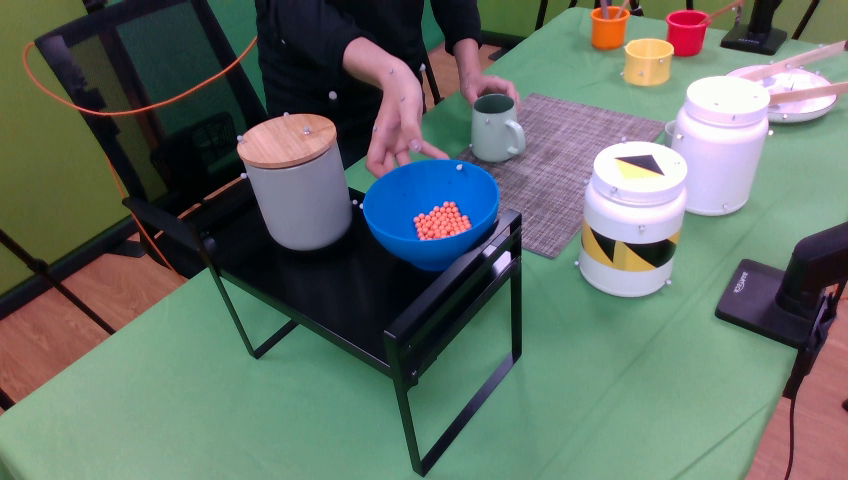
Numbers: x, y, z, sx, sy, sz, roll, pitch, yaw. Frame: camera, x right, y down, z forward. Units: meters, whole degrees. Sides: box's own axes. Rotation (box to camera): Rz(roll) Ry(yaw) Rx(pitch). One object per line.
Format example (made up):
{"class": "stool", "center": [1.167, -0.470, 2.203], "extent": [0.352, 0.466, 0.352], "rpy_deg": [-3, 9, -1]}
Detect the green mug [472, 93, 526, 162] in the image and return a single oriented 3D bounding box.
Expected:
{"class": "green mug", "center": [0.144, -0.202, 1.122], "extent": [0.093, 0.105, 0.124], "rpy_deg": [-29, 45, -23]}

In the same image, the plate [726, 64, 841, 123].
{"class": "plate", "center": [0.695, -0.282, 1.189], "extent": [0.207, 0.039, 0.206], "rpy_deg": [-4, 40, 4]}

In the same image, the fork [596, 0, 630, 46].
{"class": "fork", "center": [0.481, -0.556, 1.453], "extent": [0.028, 0.019, 0.207], "rpy_deg": [40, 103, 38]}

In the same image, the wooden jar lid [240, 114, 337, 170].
{"class": "wooden jar lid", "center": [-0.149, -0.106, 0.673], "extent": [0.108, 0.021, 0.108], "rpy_deg": [-6, 39, 5]}

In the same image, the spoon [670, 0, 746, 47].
{"class": "spoon", "center": [0.629, -0.485, 1.350], "extent": [0.022, 0.193, 0.042], "rpy_deg": [48, 54, -7]}

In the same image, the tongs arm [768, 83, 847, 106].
{"class": "tongs arm", "center": [0.738, -0.282, 1.134], "extent": [0.388, 0.028, 0.028], "rpy_deg": [-9, 47, -5]}

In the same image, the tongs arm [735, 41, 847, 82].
{"class": "tongs arm", "center": [0.712, -0.332, 1.194], "extent": [0.386, 0.026, 0.050], "rpy_deg": [-18, 45, -16]}

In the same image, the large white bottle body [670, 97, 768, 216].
{"class": "large white bottle body", "center": [0.458, -0.146, 0.952], "extent": [0.130, 0.185, 0.130], "rpy_deg": [-4, 40, 4]}

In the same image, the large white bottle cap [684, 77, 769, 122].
{"class": "large white bottle cap", "center": [0.448, -0.210, 0.898], "extent": [0.115, 0.018, 0.114], "rpy_deg": [-4, 40, 4]}

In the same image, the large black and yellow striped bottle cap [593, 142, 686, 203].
{"class": "large black and yellow striped bottle cap", "center": [0.280, -0.090, 0.786], "extent": [0.115, 0.019, 0.114], "rpy_deg": [-5, 41, 5]}

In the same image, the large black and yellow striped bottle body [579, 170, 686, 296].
{"class": "large black and yellow striped bottle body", "center": [0.287, -0.027, 0.842], "extent": [0.131, 0.185, 0.130], "rpy_deg": [-4, 41, 4]}

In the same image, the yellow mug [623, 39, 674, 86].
{"class": "yellow mug", "center": [0.485, -0.398, 1.334], "extent": [0.100, 0.064, 0.130], "rpy_deg": [-18, 40, -10]}

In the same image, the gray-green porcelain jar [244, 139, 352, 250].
{"class": "gray-green porcelain jar", "center": [-0.144, -0.060, 0.714], "extent": [0.106, 0.127, 0.105], "rpy_deg": [-4, 41, 4]}

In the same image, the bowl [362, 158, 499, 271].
{"class": "bowl", "center": [0.011, -0.019, 0.679], "extent": [0.151, 0.077, 0.150], "rpy_deg": [-5, 41, 5]}

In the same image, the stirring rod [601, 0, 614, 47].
{"class": "stirring rod", "center": [0.439, -0.552, 1.463], "extent": [0.014, 0.006, 0.175], "rpy_deg": [-7, 83, 3]}

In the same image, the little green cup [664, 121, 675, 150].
{"class": "little green cup", "center": [0.472, -0.188, 1.113], "extent": [0.061, 0.039, 0.061], "rpy_deg": [-5, 40, 4]}
